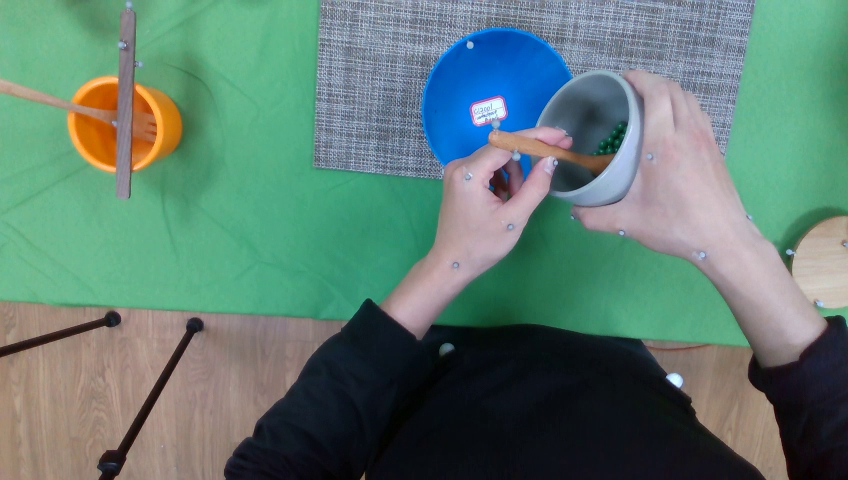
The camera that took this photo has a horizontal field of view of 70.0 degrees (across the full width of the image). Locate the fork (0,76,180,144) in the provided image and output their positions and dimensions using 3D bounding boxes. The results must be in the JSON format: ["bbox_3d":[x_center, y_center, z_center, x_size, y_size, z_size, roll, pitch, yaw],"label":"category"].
[{"bbox_3d":[-0.333,-0.129,0.571,0.209,0.018,0.028,13,110,-49],"label":"fork"}]

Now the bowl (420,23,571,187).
[{"bbox_3d":[0.070,-0.134,0.613,0.151,0.076,0.152,0,104,-1],"label":"bowl"}]

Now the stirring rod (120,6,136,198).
[{"bbox_3d":[-0.279,-0.127,0.570,0.014,0.006,0.176,6,103,-1],"label":"stirring rod"}]

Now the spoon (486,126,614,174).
[{"bbox_3d":[0.119,-0.068,0.490,0.195,0.021,0.042,6,117,-36],"label":"spoon"}]

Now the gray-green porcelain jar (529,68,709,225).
[{"bbox_3d":[0.171,-0.074,0.521,0.127,0.104,0.106,15,104,-34],"label":"gray-green porcelain jar"}]

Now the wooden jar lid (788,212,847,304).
[{"bbox_3d":[0.469,0.020,0.695,0.108,0.020,0.109,0,104,-1],"label":"wooden jar lid"}]
